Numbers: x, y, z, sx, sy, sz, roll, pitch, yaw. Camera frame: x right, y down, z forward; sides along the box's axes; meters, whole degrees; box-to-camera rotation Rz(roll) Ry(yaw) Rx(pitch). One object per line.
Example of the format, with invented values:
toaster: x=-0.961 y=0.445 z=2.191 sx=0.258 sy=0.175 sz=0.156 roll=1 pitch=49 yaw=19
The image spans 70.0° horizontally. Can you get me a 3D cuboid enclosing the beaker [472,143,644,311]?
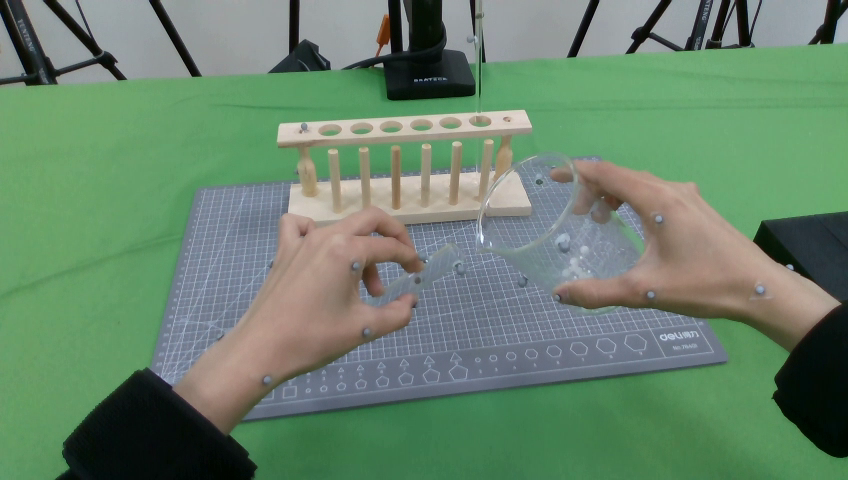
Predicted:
beaker: x=0.090 y=-0.002 z=0.400 sx=0.084 sy=0.101 sz=0.073 roll=-41 pitch=36 yaw=18

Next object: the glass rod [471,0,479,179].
glass rod: x=0.049 y=-0.148 z=0.583 sx=0.008 sy=0.201 sz=0.008 roll=-2 pitch=35 yaw=2

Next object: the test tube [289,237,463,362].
test tube: x=-0.036 y=0.043 z=0.413 sx=0.150 sy=0.017 sz=0.017 roll=-35 pitch=38 yaw=19

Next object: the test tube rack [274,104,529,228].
test tube rack: x=-0.019 y=-0.074 z=0.599 sx=0.243 sy=0.086 sz=0.066 roll=-4 pitch=42 yaw=-5
